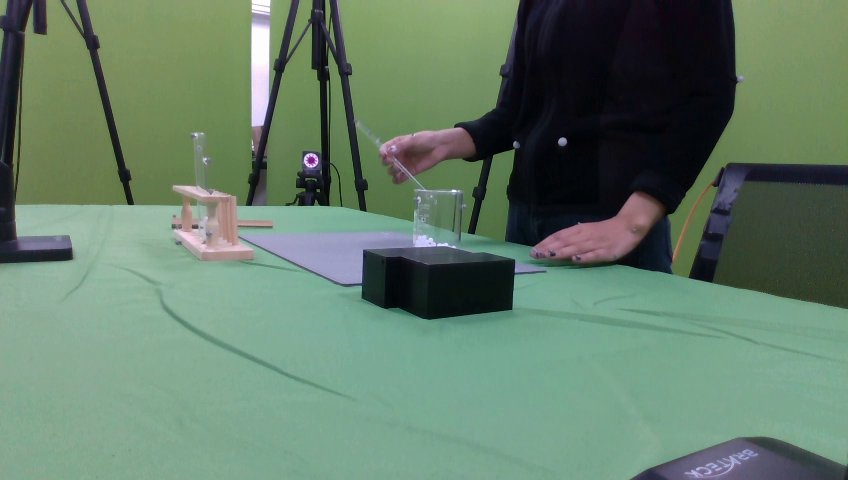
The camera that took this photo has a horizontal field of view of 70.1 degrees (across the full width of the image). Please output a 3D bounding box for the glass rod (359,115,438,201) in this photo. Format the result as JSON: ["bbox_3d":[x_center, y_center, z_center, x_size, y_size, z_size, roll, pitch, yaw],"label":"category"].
[{"bbox_3d":[-0.043,-0.142,1.052,0.008,0.200,0.008,-43,4,4],"label":"glass rod"}]

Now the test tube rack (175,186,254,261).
[{"bbox_3d":[-0.314,-0.031,0.889,0.067,0.085,0.241,-2,8,-30],"label":"test tube rack"}]

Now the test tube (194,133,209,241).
[{"bbox_3d":[-0.307,-0.074,0.842,0.017,0.150,0.017,-3,2,0],"label":"test tube"}]

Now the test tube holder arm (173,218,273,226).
[{"bbox_3d":[-0.371,-0.033,1.128,0.179,0.015,0.013,-1,-21,-25],"label":"test tube holder arm"}]

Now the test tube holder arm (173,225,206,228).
[{"bbox_3d":[-0.414,-0.030,1.113,0.088,0.015,0.010,-1,-21,-25],"label":"test tube holder arm"}]

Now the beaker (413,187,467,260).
[{"bbox_3d":[0.019,-0.026,0.878,0.074,0.100,0.083,-1,7,-27],"label":"beaker"}]
